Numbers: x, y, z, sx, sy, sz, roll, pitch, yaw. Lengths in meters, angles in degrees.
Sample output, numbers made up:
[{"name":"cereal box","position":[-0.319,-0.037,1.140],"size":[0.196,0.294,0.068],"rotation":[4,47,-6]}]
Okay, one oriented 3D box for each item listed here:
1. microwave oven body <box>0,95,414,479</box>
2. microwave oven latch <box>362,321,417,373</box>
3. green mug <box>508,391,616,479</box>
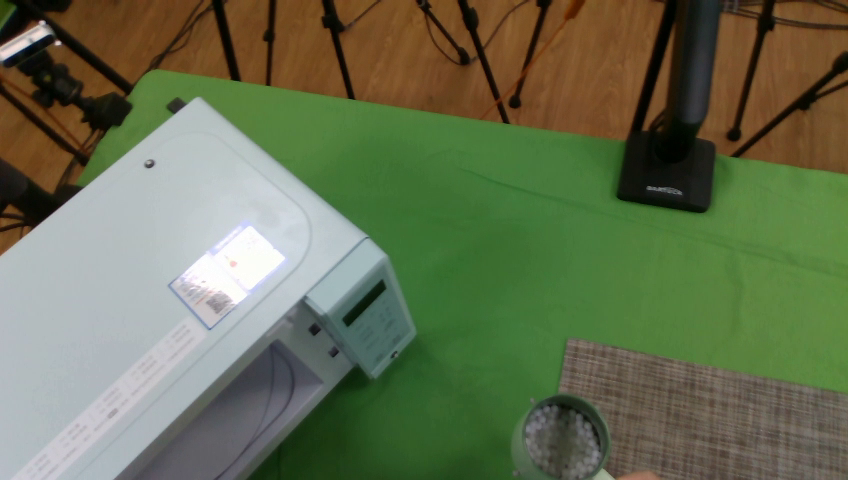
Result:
[{"name":"microwave oven body","position":[-0.282,0.120,0.667],"size":[0.323,0.262,0.441],"rotation":[38,74,21]},{"name":"microwave oven latch","position":[-0.043,0.125,0.745],"size":[0.030,0.030,0.079],"rotation":[40,75,22]},{"name":"green mug","position":[0.142,0.207,0.585],"size":[0.092,0.106,0.124],"rotation":[-43,69,-14]}]
